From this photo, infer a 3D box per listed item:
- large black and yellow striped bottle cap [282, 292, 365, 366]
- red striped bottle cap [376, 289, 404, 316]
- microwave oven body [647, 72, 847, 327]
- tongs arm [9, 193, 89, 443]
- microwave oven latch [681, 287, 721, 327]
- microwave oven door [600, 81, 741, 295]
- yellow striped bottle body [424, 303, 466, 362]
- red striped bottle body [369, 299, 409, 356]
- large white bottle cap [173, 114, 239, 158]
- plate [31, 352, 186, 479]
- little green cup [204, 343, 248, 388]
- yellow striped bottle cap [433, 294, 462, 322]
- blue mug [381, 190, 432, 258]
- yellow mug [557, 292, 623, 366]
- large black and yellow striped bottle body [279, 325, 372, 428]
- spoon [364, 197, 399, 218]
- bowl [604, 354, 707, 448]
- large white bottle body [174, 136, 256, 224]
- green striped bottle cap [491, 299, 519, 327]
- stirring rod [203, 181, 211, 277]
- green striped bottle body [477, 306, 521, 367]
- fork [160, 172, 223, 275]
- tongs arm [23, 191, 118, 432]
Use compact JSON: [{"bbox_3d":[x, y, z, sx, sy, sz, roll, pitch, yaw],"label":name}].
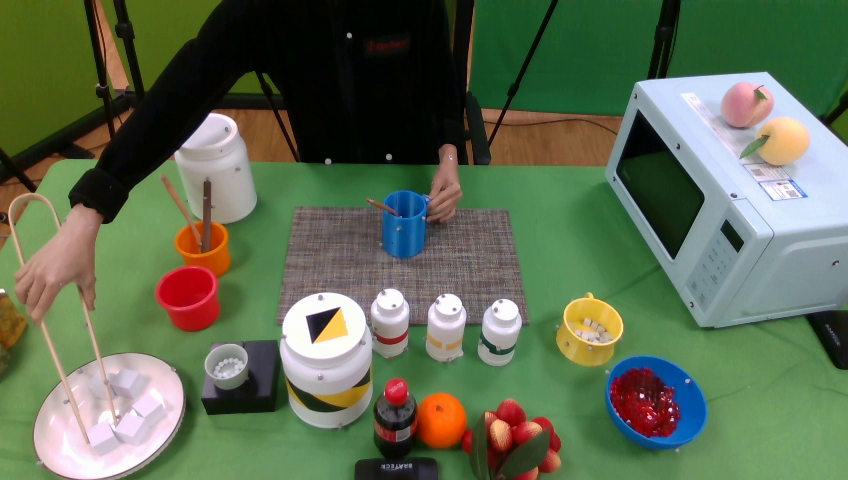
[{"bbox_3d":[-0.139,0.121,0.841,0.115,0.019,0.114,3,47,-3],"label":"large black and yellow striped bottle cap"},{"bbox_3d":[-0.055,0.098,0.958,0.044,0.018,0.044,0,48,0],"label":"red striped bottle cap"},{"bbox_3d":[0.607,-0.089,1.164,0.326,0.261,0.438,-7,46,-10],"label":"microwave oven body"},{"bbox_3d":[-0.550,0.112,0.892,0.028,0.028,0.386,-19,81,-24],"label":"tongs arm"},{"bbox_3d":[0.494,0.119,1.087,0.030,0.029,0.078,-6,46,-9],"label":"microwave oven latch"},{"bbox_3d":[0.454,-0.107,1.161,0.039,0.245,0.353,-6,47,-11],"label":"microwave oven door"},{"bbox_3d":[0.035,0.143,0.995,0.063,0.121,0.062,3,46,-3],"label":"yellow striped bottle body"},{"bbox_3d":[-0.058,0.134,0.997,0.063,0.120,0.062,4,47,-4],"label":"red striped bottle body"},{"bbox_3d":[-0.403,-0.195,1.122,0.115,0.018,0.114,2,47,-2],"label":"large white bottle cap"},{"bbox_3d":[-0.459,0.262,0.898,0.209,0.038,0.208,2,46,-2],"label":"plate"},{"bbox_3d":[-0.294,0.190,0.909,0.061,0.039,0.061,1,48,0],"label":"little green cup"},{"bbox_3d":[0.037,0.107,0.958,0.044,0.019,0.044,2,45,-2],"label":"yellow striped bottle cap"},{"bbox_3d":[-0.029,-0.038,1.170,0.116,0.106,0.082,-33,56,-31],"label":"blue mug"},{"bbox_3d":[0.285,0.145,1.051,0.100,0.064,0.130,7,45,4],"label":"yellow mug"},{"bbox_3d":[-0.143,0.181,0.900,0.131,0.185,0.130,2,46,-2],"label":"large black and yellow striped bottle body"},{"bbox_3d":[-0.062,-0.048,1.117,0.041,0.195,0.021,38,89,28],"label":"spoon"},{"bbox_3d":[0.346,0.261,0.937,0.151,0.077,0.150,2,46,-2],"label":"bowl"},{"bbox_3d":[-0.407,-0.137,1.183,0.131,0.185,0.130,2,46,-2],"label":"large white bottle body"},{"bbox_3d":[0.128,0.115,0.958,0.044,0.020,0.044,0,45,0],"label":"green striped bottle cap"},{"bbox_3d":[-0.396,-0.021,1.107,0.014,0.006,0.176,-1,89,-1],"label":"stirring rod"},{"bbox_3d":[0.124,0.151,0.995,0.063,0.120,0.063,2,46,-1],"label":"green striped bottle body"},{"bbox_3d":[-0.425,-0.030,1.103,0.028,0.018,0.207,-29,98,-19],"label":"fork"},{"bbox_3d":[-0.529,0.105,0.904,0.051,0.026,0.383,-14,79,-27],"label":"tongs arm"}]
